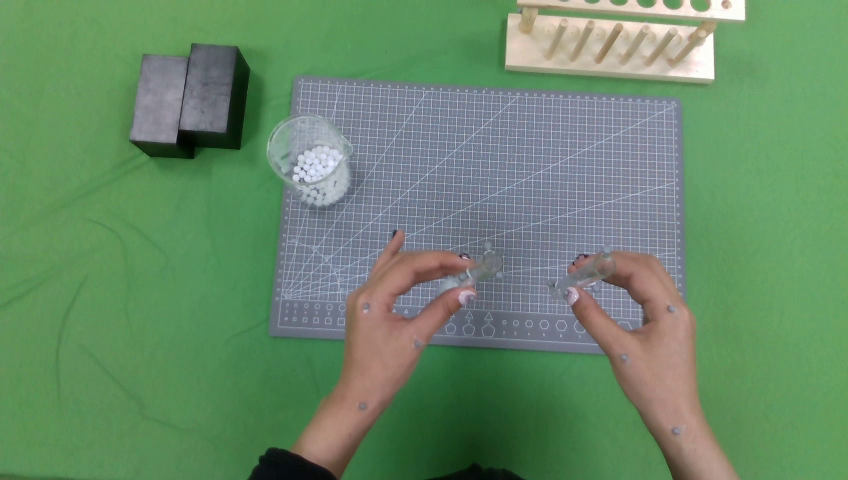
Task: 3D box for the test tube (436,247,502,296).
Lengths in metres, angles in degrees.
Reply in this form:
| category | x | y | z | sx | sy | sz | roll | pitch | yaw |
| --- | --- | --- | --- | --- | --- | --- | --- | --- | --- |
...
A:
| category | x | y | z | sx | sy | sz | roll | pitch | yaw |
| --- | --- | --- | --- | --- | --- | --- | --- | --- | --- |
| test tube | 0.031 | 0.028 | 0.473 | 0.017 | 0.150 | 0.017 | 2 | 77 | -11 |

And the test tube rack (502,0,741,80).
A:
| category | x | y | z | sx | sy | sz | roll | pitch | yaw |
| --- | --- | --- | --- | --- | --- | --- | --- | --- | --- |
| test tube rack | 0.214 | -0.237 | 0.679 | 0.242 | 0.085 | 0.066 | 4 | 79 | 0 |

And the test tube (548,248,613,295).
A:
| category | x | y | z | sx | sy | sz | roll | pitch | yaw |
| --- | --- | --- | --- | --- | --- | --- | --- | --- | --- |
| test tube | 0.119 | 0.028 | 0.477 | 0.017 | 0.151 | 0.017 | 0 | 78 | 0 |

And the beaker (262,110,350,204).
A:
| category | x | y | z | sx | sy | sz | roll | pitch | yaw |
| --- | --- | --- | --- | --- | --- | --- | --- | --- | --- |
| beaker | -0.115 | -0.082 | 0.634 | 0.084 | 0.100 | 0.073 | -4 | 80 | -2 |
